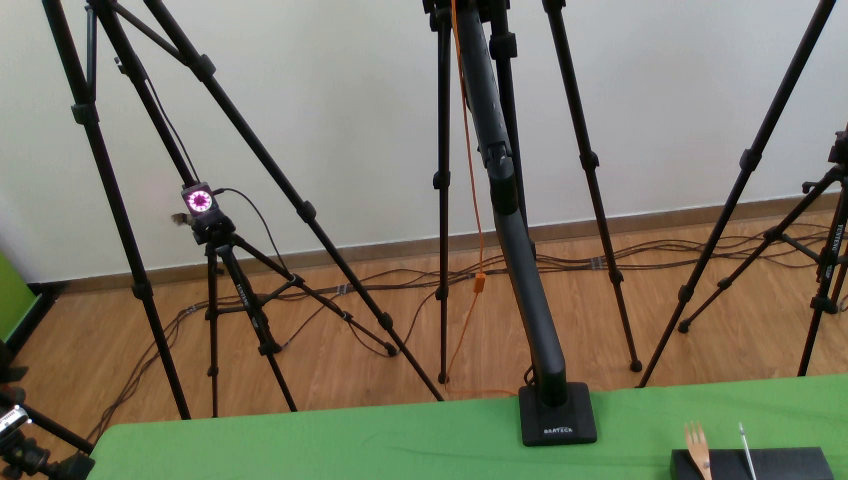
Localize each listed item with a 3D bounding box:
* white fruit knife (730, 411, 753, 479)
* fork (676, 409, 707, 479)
[{"bbox_3d":[0.448,0.336,0.830,0.016,0.028,0.205,-9,55,14],"label":"white fruit knife"},{"bbox_3d":[0.391,0.340,0.843,0.028,0.019,0.205,-8,59,3],"label":"fork"}]
